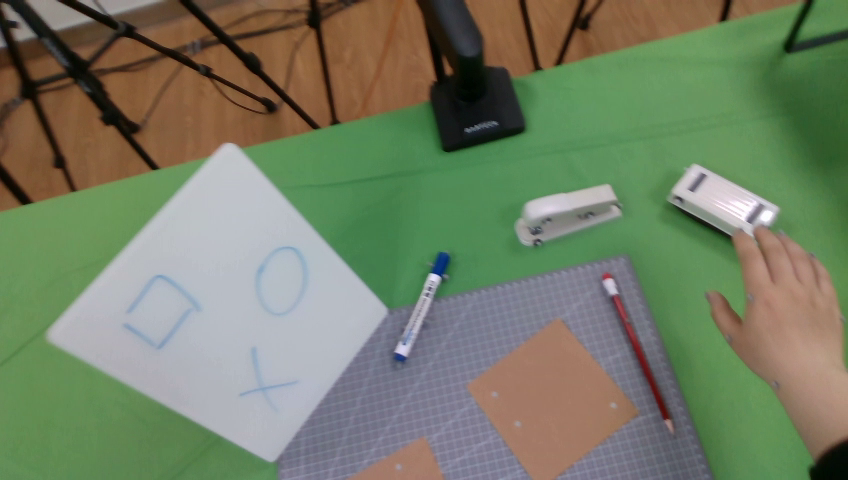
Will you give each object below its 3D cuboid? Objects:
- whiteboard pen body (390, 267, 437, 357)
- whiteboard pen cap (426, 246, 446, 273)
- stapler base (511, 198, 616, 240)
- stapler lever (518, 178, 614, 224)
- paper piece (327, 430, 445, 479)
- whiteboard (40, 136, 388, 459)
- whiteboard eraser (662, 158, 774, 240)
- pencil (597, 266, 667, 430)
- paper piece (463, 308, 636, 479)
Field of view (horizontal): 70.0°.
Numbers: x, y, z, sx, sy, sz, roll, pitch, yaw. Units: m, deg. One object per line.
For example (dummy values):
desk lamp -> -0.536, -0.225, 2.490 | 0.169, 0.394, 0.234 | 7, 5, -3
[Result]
whiteboard pen body -> -0.008, 0.075, 0.732 | 0.017, 0.017, 0.140 | 17, 67, 17
whiteboard pen cap -> 0.015, 0.025, 0.751 | 0.018, 0.018, 0.033 | 15, 67, 16
stapler base -> 0.174, -0.039, 0.756 | 0.130, 0.024, 0.041 | -19, 66, -2
stapler lever -> 0.172, -0.050, 0.735 | 0.118, 0.040, 0.026 | -19, 65, -1
paper piece -> -0.033, 0.292, 0.635 | 0.135, 0.004, 0.134 | -27, 64, -5
whiteboard -> -0.218, 0.057, 0.649 | 0.142, 0.309, 0.217 | 24, 69, 42
whiteboard eraser -> 0.347, -0.048, 0.721 | 0.112, 0.042, 0.055 | 35, 76, 22
pencil -> 0.232, 0.116, 0.675 | 0.012, 0.012, 0.192 | -16, 65, 2
paper piece -> 0.135, 0.167, 0.668 | 0.136, 0.009, 0.137 | -36, 66, -3
